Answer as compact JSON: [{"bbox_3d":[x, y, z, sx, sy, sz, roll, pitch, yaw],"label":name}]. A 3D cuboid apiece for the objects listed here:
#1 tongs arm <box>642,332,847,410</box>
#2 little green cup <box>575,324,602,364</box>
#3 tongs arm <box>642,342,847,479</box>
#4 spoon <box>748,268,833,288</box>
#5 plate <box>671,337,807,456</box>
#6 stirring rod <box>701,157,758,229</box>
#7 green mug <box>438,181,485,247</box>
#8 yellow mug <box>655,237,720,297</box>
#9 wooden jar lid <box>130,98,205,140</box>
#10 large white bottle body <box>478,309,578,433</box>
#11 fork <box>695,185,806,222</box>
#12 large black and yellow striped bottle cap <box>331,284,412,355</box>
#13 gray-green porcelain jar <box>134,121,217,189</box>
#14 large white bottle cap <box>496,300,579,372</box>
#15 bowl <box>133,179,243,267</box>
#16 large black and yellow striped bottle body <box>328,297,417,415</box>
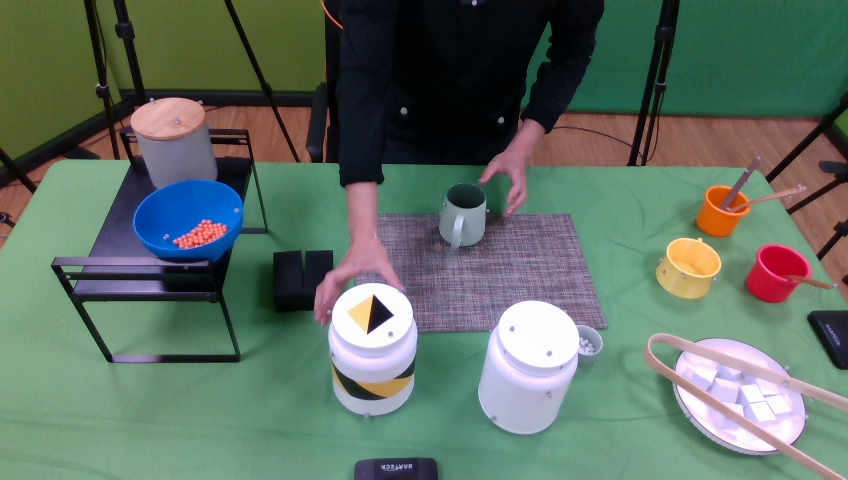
[{"bbox_3d":[0.546,0.227,0.968,0.384,0.026,0.050,22,52,13],"label":"tongs arm"},{"bbox_3d":[0.269,0.179,1.035,0.061,0.039,0.061,2,45,-2],"label":"little green cup"},{"bbox_3d":[0.504,0.279,0.918,0.386,0.028,0.028,33,59,22],"label":"tongs arm"},{"bbox_3d":[0.660,0.068,1.098,0.041,0.193,0.021,-4,91,-6],"label":"spoon"},{"bbox_3d":[0.503,0.254,0.984,0.208,0.039,0.206,2,46,-2],"label":"plate"},{"bbox_3d":[0.634,-0.097,1.257,0.014,0.006,0.176,38,97,30],"label":"stirring rod"},{"bbox_3d":[0.071,-0.040,1.178,0.092,0.105,0.124,12,47,7],"label":"green mug"},{"bbox_3d":[0.509,0.041,1.167,0.099,0.064,0.130,24,48,18],"label":"yellow mug"},{"bbox_3d":[-0.393,-0.183,0.934,0.108,0.021,0.107,3,44,-2],"label":"wooden jar lid"},{"bbox_3d":[0.155,0.192,0.913,0.131,0.185,0.130,2,46,-2],"label":"large white bottle body"},{"bbox_3d":[0.658,-0.074,1.230,0.207,0.019,0.028,-23,36,37],"label":"fork"},{"bbox_3d":[-0.073,0.111,0.858,0.115,0.019,0.114,2,46,-1],"label":"large black and yellow striped bottle cap"},{"bbox_3d":[-0.397,-0.141,0.979,0.106,0.127,0.105,2,47,-2],"label":"gray-green porcelain jar"},{"bbox_3d":[0.160,0.133,0.852,0.115,0.018,0.114,3,46,-3],"label":"large white bottle cap"},{"bbox_3d":[-0.339,-0.013,0.895,0.151,0.077,0.150,2,46,-2],"label":"bowl"},{"bbox_3d":[-0.078,0.167,0.920,0.131,0.185,0.130,2,46,-2],"label":"large black and yellow striped bottle body"}]
